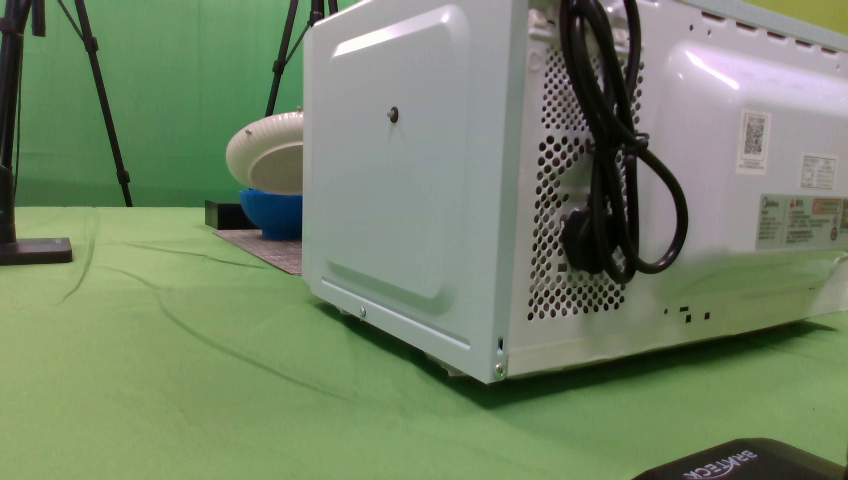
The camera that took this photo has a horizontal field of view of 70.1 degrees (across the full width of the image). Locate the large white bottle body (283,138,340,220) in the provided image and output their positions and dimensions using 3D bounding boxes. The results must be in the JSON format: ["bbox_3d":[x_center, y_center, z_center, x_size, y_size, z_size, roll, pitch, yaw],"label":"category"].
[{"bbox_3d":[-0.265,-0.143,1.424,0.131,0.184,0.130,2,7,0],"label":"large white bottle body"}]

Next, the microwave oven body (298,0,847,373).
[{"bbox_3d":[0.151,-0.055,0.543,0.444,0.260,0.324,-2,7,-33],"label":"microwave oven body"}]

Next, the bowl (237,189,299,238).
[{"bbox_3d":[-0.245,-0.046,1.053,0.151,0.077,0.151,3,8,0],"label":"bowl"}]

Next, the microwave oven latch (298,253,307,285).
[{"bbox_3d":[-0.081,0.027,0.582,0.079,0.029,0.030,-1,7,-32],"label":"microwave oven latch"}]

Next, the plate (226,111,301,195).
[{"bbox_3d":[-0.194,-0.121,0.929,0.209,0.038,0.209,-14,-22,-5],"label":"plate"}]

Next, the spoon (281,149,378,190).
[{"bbox_3d":[-0.156,-0.124,1.034,0.194,0.021,0.041,-31,29,-30],"label":"spoon"}]

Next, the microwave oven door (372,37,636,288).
[{"bbox_3d":[0.110,-0.080,0.686,0.358,0.243,0.039,-2,9,-33],"label":"microwave oven door"}]

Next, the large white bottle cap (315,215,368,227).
[{"bbox_3d":[-0.177,-0.041,1.309,0.115,0.018,0.115,2,6,0],"label":"large white bottle cap"}]
